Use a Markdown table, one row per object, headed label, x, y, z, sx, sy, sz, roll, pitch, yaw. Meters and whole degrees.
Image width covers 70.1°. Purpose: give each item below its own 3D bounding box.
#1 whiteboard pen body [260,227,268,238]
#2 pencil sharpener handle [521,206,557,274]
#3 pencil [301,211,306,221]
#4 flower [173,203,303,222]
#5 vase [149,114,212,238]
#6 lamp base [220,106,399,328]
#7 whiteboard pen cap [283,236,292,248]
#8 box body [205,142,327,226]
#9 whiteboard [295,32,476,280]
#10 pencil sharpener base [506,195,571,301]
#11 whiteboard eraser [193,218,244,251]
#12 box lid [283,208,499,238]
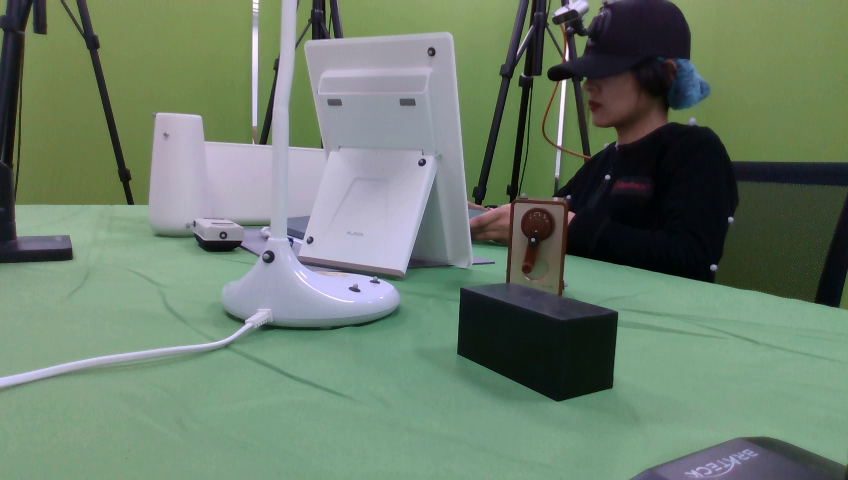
| label | x | y | z | sx | sy | sz | roll | pitch | yaw |
| --- | --- | --- | --- | --- | --- | --- | --- | --- | --- |
| whiteboard pen body | -0.239 | -0.005 | 0.964 | 0.017 | 0.017 | 0.140 | -2 | 9 | -28 |
| pencil sharpener handle | 0.112 | 0.000 | 0.611 | 0.036 | 0.067 | 0.031 | 13 | 10 | 11 |
| pencil | -0.268 | -0.056 | 1.351 | 0.012 | 0.012 | 0.193 | 1 | 6 | -11 |
| flower | -0.382 | -0.061 | 1.309 | 0.044 | 0.038 | 0.363 | 0 | 3 | 29 |
| vase | -0.405 | -0.106 | 1.006 | 0.098 | 0.200 | 0.098 | 2 | 6 | 0 |
| lamp base | -0.102 | -0.023 | 0.531 | 0.160 | 0.180 | 0.179 | 4 | 10 | 10 |
| whiteboard pen cap | -0.211 | 0.003 | 0.913 | 0.018 | 0.018 | 0.033 | -2 | 6 | -28 |
| box body | -0.363 | -0.123 | 1.293 | 0.366 | 0.160 | 0.253 | -2 | 9 | -32 |
| whiteboard | -0.076 | -0.084 | 0.747 | 0.216 | 0.305 | 0.144 | 7 | 28 | 29 |
| pencil sharpener base | 0.126 | 0.007 | 0.662 | 0.061 | 0.107 | 0.077 | 4 | 8 | 13 |
| whiteboard eraser | -0.307 | -0.010 | 0.900 | 0.056 | 0.042 | 0.112 | -4 | 10 | -28 |
| box lid | -0.071 | -0.037 | 1.127 | 0.373 | 0.015 | 0.262 | -9 | 14 | -34 |
